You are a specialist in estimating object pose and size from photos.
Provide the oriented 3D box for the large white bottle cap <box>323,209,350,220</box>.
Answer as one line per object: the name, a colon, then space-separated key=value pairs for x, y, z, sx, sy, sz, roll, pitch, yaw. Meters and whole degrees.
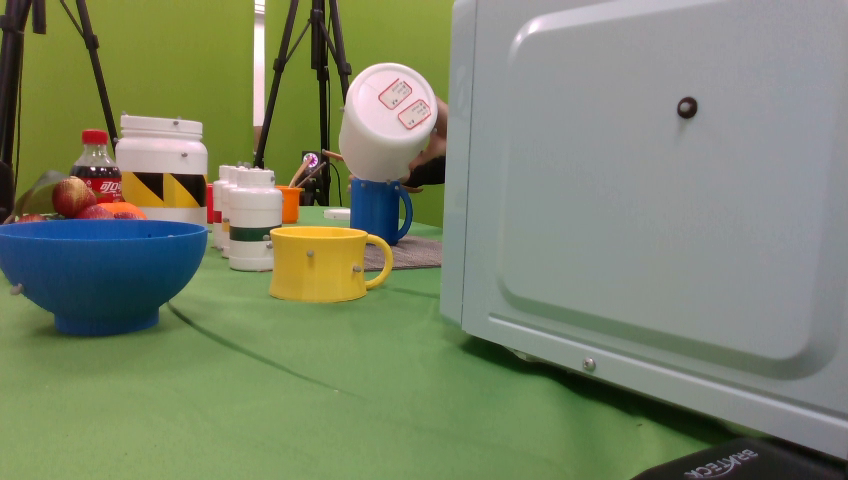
large white bottle cap: x=-0.184 y=-0.062 z=1.450 sx=0.115 sy=0.018 sz=0.115 roll=2 pitch=8 yaw=0

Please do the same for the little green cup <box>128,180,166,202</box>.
little green cup: x=-0.485 y=-0.087 z=1.062 sx=0.061 sy=0.038 sz=0.061 roll=-1 pitch=6 yaw=0

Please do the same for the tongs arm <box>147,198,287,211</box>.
tongs arm: x=-0.503 y=-0.090 z=1.513 sx=0.028 sy=0.028 sz=0.389 roll=-1 pitch=4 yaw=38

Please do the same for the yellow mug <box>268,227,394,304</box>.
yellow mug: x=-0.094 y=0.023 z=0.629 sx=0.131 sy=0.064 sz=0.099 roll=0 pitch=7 yaw=-22

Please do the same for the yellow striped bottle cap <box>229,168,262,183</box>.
yellow striped bottle cap: x=-0.240 y=-0.087 z=0.816 sx=0.044 sy=0.018 sz=0.044 roll=-3 pitch=5 yaw=1

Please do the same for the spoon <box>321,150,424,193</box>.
spoon: x=-0.092 y=-0.124 z=1.085 sx=0.194 sy=0.021 sz=0.041 roll=25 pitch=4 yaw=-6

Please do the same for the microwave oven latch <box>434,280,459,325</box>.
microwave oven latch: x=0.044 y=0.045 z=0.470 sx=0.079 sy=0.029 sz=0.030 roll=-2 pitch=8 yaw=-39

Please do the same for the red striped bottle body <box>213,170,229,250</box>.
red striped bottle body: x=-0.283 y=-0.047 z=0.909 sx=0.063 sy=0.119 sz=0.063 roll=3 pitch=14 yaw=0

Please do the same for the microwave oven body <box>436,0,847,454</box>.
microwave oven body: x=0.279 y=-0.040 z=0.464 sx=0.444 sy=0.260 sz=0.324 roll=-3 pitch=9 yaw=-41

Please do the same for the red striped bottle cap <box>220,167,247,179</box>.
red striped bottle cap: x=-0.281 y=-0.099 z=0.901 sx=0.044 sy=0.017 sz=0.044 roll=-1 pitch=5 yaw=0

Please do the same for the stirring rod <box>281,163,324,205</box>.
stirring rod: x=-0.278 y=-0.105 z=1.293 sx=0.176 sy=0.006 sz=0.014 roll=-47 pitch=25 yaw=-18

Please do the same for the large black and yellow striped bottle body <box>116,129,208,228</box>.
large black and yellow striped bottle body: x=-0.404 y=-0.089 z=0.937 sx=0.131 sy=0.184 sz=0.130 roll=3 pitch=7 yaw=0

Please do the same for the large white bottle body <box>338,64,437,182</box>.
large white bottle body: x=-0.062 y=-0.166 z=0.921 sx=0.131 sy=0.130 sz=0.184 roll=1 pitch=-16 yaw=-13

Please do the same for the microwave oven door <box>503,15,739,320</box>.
microwave oven door: x=0.218 y=-0.065 z=0.600 sx=0.358 sy=0.243 sz=0.039 roll=-4 pitch=10 yaw=-41

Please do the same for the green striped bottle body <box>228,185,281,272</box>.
green striped bottle body: x=-0.208 y=-0.024 z=0.745 sx=0.063 sy=0.119 sz=0.063 roll=2 pitch=7 yaw=0

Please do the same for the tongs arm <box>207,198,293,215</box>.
tongs arm: x=-0.423 y=-0.084 z=1.472 sx=0.050 sy=0.026 sz=0.386 roll=1 pitch=6 yaw=21

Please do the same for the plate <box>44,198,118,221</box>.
plate: x=-0.617 y=-0.056 z=1.179 sx=0.209 sy=0.038 sz=0.209 roll=3 pitch=7 yaw=0

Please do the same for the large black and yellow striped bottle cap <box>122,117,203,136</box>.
large black and yellow striped bottle cap: x=-0.399 y=-0.174 z=0.927 sx=0.115 sy=0.019 sz=0.115 roll=5 pitch=9 yaw=-1

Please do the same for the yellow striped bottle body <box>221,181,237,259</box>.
yellow striped bottle body: x=-0.244 y=-0.035 z=0.823 sx=0.063 sy=0.120 sz=0.063 roll=3 pitch=8 yaw=0

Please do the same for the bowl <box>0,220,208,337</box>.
bowl: x=-0.251 y=0.029 z=0.479 sx=0.151 sy=0.077 sz=0.151 roll=2 pitch=7 yaw=0

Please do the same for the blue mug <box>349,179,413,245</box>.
blue mug: x=-0.069 y=-0.047 z=1.001 sx=0.116 sy=0.106 sz=0.083 roll=6 pitch=9 yaw=29

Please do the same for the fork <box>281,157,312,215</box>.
fork: x=-0.289 y=-0.116 z=1.321 sx=0.028 sy=0.019 sz=0.207 roll=6 pitch=51 yaw=19

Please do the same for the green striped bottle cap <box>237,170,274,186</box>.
green striped bottle cap: x=-0.205 y=-0.075 z=0.737 sx=0.044 sy=0.020 sz=0.044 roll=1 pitch=6 yaw=0
